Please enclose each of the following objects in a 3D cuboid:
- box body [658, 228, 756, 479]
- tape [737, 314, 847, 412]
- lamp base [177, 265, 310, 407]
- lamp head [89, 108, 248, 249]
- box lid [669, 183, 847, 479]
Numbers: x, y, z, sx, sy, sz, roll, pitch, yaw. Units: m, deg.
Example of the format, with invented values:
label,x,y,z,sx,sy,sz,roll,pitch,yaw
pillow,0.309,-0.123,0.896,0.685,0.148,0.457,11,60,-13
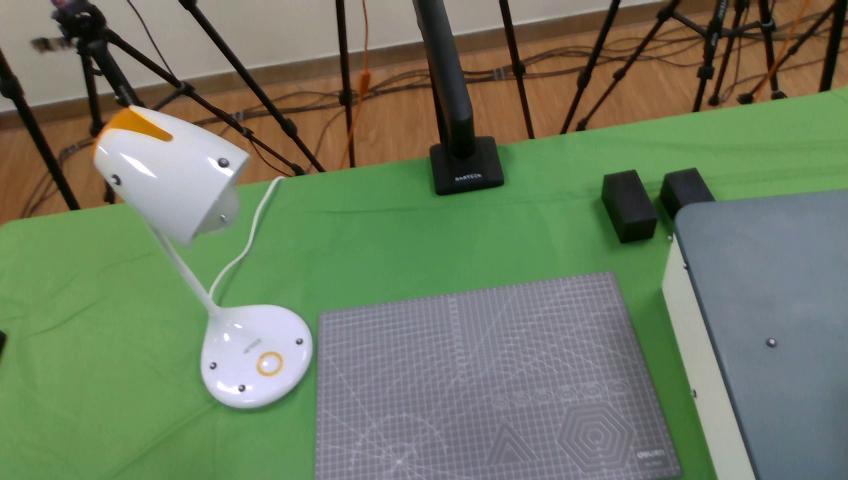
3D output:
label,x,y,z,sx,sy,sz,roll,pitch,yaw
box body,0.448,0.131,0.714,0.254,0.162,0.360,-6,53,4
tape,0.459,0.153,0.759,0.117,0.053,0.115,-4,53,5
lamp base,-0.264,0.115,0.822,0.178,0.182,0.160,24,60,27
lamp head,-0.250,-0.066,0.582,0.123,0.112,0.112,31,57,-11
box lid,0.440,0.085,0.657,0.263,0.015,0.367,-6,53,5
